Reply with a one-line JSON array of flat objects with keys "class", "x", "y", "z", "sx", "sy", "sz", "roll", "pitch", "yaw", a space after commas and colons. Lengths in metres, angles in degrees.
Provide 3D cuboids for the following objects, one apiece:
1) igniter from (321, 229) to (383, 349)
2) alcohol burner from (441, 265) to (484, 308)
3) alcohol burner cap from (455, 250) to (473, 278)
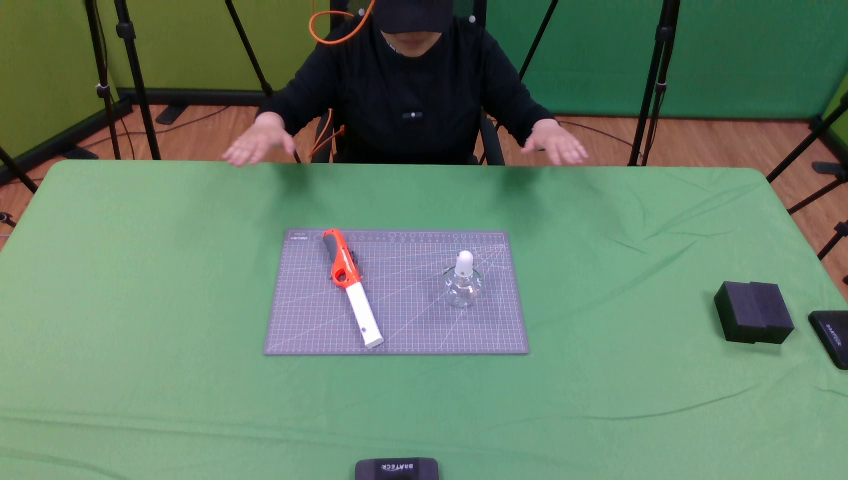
[{"class": "igniter", "x": -0.134, "y": 0.078, "z": 1.102, "sx": 0.057, "sy": 0.025, "sz": 0.274, "roll": -28, "pitch": 53, "yaw": 0}, {"class": "alcohol burner", "x": 0.069, "y": 0.064, "z": 1.075, "sx": 0.078, "sy": 0.120, "sz": 0.077, "roll": 1, "pitch": 45, "yaw": -1}, {"class": "alcohol burner cap", "x": 0.070, "y": 0.040, "z": 1.048, "sx": 0.034, "sy": 0.048, "sz": 0.033, "roll": 1, "pitch": 43, "yaw": -1}]
